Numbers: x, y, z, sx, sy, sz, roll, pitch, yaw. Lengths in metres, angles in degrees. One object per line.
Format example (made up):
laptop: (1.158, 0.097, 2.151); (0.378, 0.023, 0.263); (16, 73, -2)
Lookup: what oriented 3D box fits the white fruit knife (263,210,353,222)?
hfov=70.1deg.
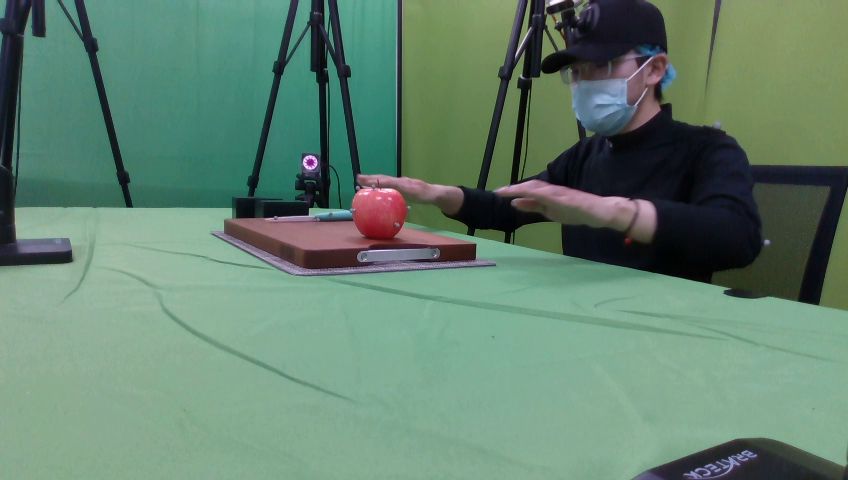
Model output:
white fruit knife: (-0.196, -0.042, 1.100); (0.208, 0.016, 0.027); (-6, -19, -41)

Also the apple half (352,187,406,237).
apple half: (-0.059, -0.039, 0.883); (0.081, 0.074, 0.053); (2, 10, -39)

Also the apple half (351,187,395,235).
apple half: (-0.083, -0.045, 0.913); (0.082, 0.081, 0.032); (-3, 13, -38)
